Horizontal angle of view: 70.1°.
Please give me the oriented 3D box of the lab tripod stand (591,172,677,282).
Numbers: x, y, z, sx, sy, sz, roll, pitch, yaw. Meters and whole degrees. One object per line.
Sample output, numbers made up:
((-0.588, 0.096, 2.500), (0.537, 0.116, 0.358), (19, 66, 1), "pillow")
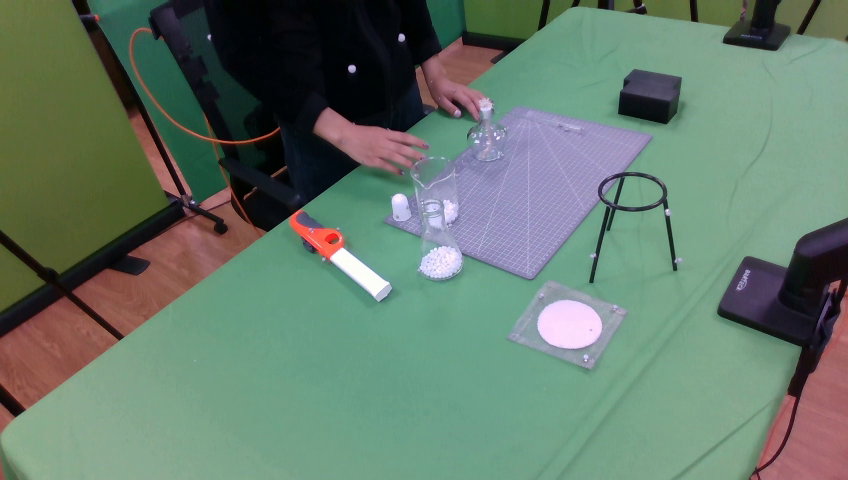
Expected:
((0.292, -0.022, 0.867), (0.148, 0.132, 0.147), (-7, 39, 6), "lab tripod stand")

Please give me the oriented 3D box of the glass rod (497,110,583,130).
((0.233, -0.245, 1.235), (0.198, 0.008, 0.008), (21, 49, 35), "glass rod")

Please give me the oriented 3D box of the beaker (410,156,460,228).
((0.020, -0.076, 1.006), (0.074, 0.101, 0.084), (3, 42, 15), "beaker")

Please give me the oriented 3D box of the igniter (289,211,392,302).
((-0.146, 0.019, 0.986), (0.057, 0.025, 0.274), (-40, 48, -17), "igniter")

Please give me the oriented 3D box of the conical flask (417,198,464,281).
((0.019, -0.004, 0.907), (0.075, 0.122, 0.075), (-5, 40, 5), "conical flask")

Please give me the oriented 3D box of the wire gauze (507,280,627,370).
((0.196, 0.114, 0.823), (0.120, 0.011, 0.125), (20, 50, 31), "wire gauze")

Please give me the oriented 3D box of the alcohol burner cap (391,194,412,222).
((-0.041, -0.057, 1.040), (0.034, 0.048, 0.033), (-6, 41, 5), "alcohol burner cap")

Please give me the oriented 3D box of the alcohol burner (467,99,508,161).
((0.119, -0.210, 1.134), (0.078, 0.119, 0.077), (-4, 39, 4), "alcohol burner")
